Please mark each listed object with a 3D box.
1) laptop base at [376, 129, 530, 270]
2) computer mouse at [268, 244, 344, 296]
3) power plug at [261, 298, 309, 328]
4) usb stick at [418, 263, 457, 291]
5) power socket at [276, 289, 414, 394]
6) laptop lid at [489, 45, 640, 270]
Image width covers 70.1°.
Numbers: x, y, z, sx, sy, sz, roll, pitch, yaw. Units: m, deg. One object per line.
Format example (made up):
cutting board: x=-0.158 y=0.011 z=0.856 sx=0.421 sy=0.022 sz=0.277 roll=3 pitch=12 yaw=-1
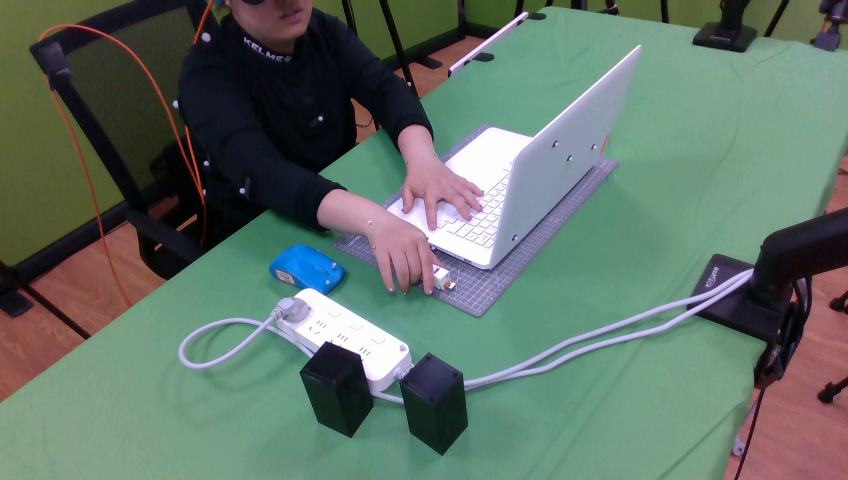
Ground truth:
laptop base: x=0.115 y=-0.086 z=1.056 sx=0.233 sy=0.023 sz=0.355 roll=21 pitch=48 yaw=34
computer mouse: x=-0.182 y=0.045 z=0.933 sx=0.116 sy=0.041 sz=0.063 roll=22 pitch=46 yaw=25
power plug: x=-0.192 y=0.107 z=0.830 sx=0.073 sy=0.053 sz=0.035 roll=-33 pitch=43 yaw=-26
usb stick: x=0.021 y=0.056 z=0.892 sx=0.059 sy=0.027 sz=0.021 roll=23 pitch=58 yaw=29
power socket: x=-0.114 y=0.133 z=0.821 sx=0.225 sy=0.033 sz=0.072 roll=25 pitch=49 yaw=33
laptop lid: x=0.214 y=-0.125 z=0.907 sx=0.013 sy=0.242 sz=0.358 roll=33 pitch=52 yaw=22
